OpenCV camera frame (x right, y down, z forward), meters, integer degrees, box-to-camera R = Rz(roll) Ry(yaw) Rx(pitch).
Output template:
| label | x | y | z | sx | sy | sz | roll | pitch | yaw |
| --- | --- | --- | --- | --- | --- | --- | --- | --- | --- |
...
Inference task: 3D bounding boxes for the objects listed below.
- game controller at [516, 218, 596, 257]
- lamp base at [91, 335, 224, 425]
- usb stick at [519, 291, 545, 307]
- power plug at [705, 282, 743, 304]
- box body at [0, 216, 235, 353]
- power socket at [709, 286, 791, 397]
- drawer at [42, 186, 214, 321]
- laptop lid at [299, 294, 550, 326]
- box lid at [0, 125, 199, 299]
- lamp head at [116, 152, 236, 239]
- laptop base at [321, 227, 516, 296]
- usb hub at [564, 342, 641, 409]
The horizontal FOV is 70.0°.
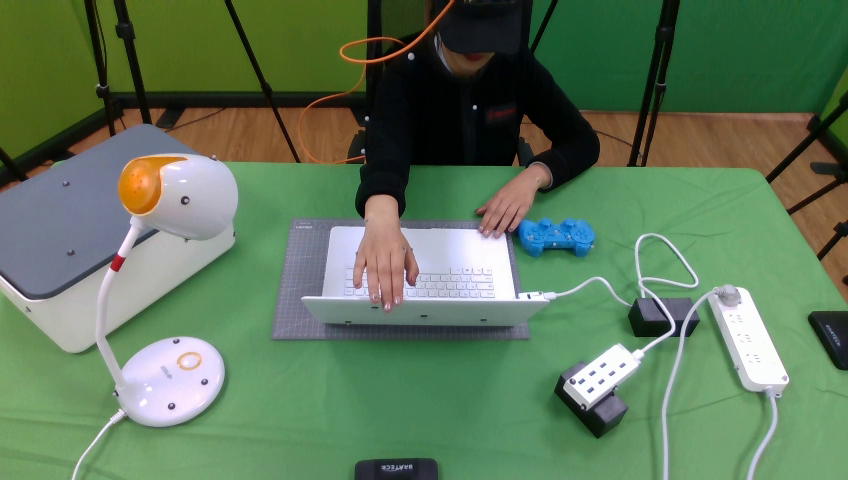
| label | x | y | z | sx | sy | sz | roll | pitch | yaw |
| --- | --- | --- | --- | --- | --- | --- | --- | --- | --- |
| game controller | 0.267 | -0.014 | 1.213 | 0.155 | 0.052 | 0.096 | 0 | 50 | -3 |
| lamp base | -0.401 | 0.171 | 0.892 | 0.160 | 0.181 | 0.179 | 30 | 53 | 23 |
| usb stick | 0.186 | 0.108 | 1.085 | 0.059 | 0.027 | 0.021 | -7 | 48 | 1 |
| power plug | 0.539 | 0.097 | 1.098 | 0.072 | 0.053 | 0.035 | 8 | 47 | 8 |
| box body | -0.550 | -0.007 | 1.068 | 0.253 | 0.161 | 0.363 | 30 | 51 | 23 |
| power socket | 0.568 | 0.167 | 1.064 | 0.072 | 0.033 | 0.225 | 2 | 46 | -1 |
| drawer | -0.529 | 0.018 | 1.097 | 0.194 | 0.073 | 0.211 | 29 | 53 | 20 |
| laptop lid | -0.002 | 0.112 | 0.944 | 0.357 | 0.242 | 0.013 | 1 | 73 | -4 |
| box lid | -0.540 | -0.068 | 1.016 | 0.262 | 0.015 | 0.371 | 30 | 51 | 23 |
| lamp head | -0.315 | -0.057 | 0.747 | 0.112 | 0.112 | 0.123 | 26 | 10 | 20 |
| laptop base | -0.009 | 0.062 | 1.137 | 0.354 | 0.023 | 0.234 | 1 | 42 | -3 |
| usb hub | 0.278 | 0.208 | 0.942 | 0.125 | 0.025 | 0.049 | -27 | 52 | -28 |
